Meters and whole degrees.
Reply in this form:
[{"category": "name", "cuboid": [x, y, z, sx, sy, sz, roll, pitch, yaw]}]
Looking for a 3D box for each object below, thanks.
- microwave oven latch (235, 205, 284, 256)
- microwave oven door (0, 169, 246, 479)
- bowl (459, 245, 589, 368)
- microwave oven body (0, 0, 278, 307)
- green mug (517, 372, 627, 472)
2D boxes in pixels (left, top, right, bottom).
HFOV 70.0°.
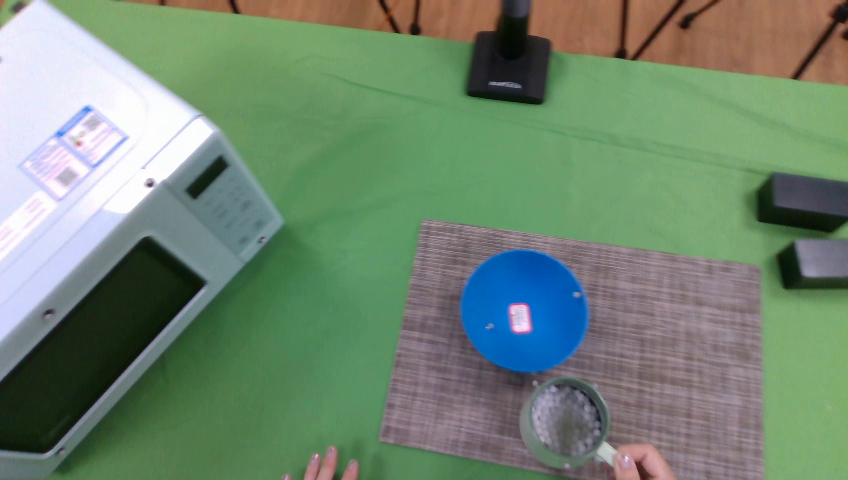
[{"category": "microwave oven latch", "cuboid": [-0.224, -0.018, 0.813, 0.030, 0.030, 0.079, 38, 76, 16]}, {"category": "microwave oven door", "cuboid": [-0.368, 0.105, 0.664, 0.039, 0.245, 0.355, 36, 75, 16]}, {"category": "bowl", "cuboid": [0.118, 0.089, 0.747, 0.151, 0.077, 0.150, -1, 69, 3]}, {"category": "microwave oven body", "cuboid": [-0.456, -0.006, 0.718, 0.324, 0.262, 0.441, 36, 75, 15]}, {"category": "green mug", "cuboid": [0.159, 0.198, 0.642, 0.124, 0.106, 0.092, 37, 77, 18]}]
